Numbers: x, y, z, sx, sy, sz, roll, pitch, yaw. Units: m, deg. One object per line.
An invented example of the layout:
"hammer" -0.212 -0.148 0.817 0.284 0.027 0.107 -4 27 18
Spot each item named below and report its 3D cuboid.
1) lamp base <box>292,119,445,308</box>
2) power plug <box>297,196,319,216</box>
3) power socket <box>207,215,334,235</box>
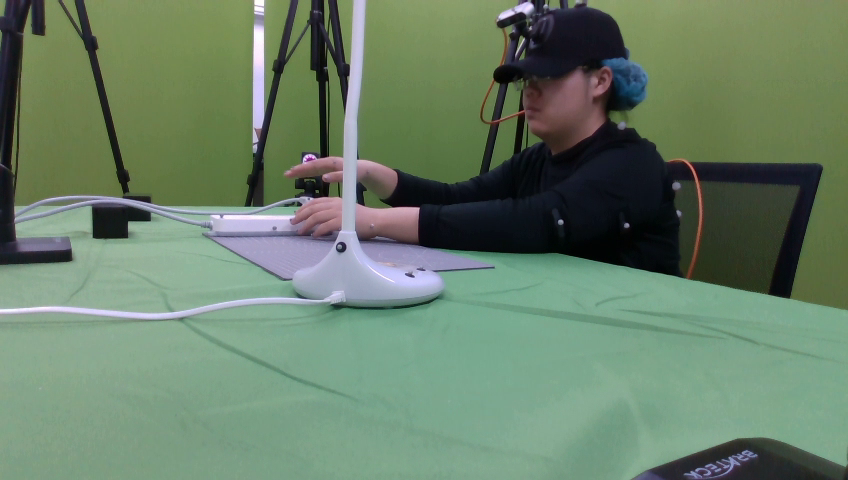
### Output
"lamp base" -0.056 -0.030 0.616 0.160 0.180 0.179 4 10 8
"power plug" -0.219 -0.057 1.143 0.035 0.052 0.072 -1 7 -18
"power socket" -0.270 -0.028 1.082 0.228 0.032 0.072 -2 7 -30
